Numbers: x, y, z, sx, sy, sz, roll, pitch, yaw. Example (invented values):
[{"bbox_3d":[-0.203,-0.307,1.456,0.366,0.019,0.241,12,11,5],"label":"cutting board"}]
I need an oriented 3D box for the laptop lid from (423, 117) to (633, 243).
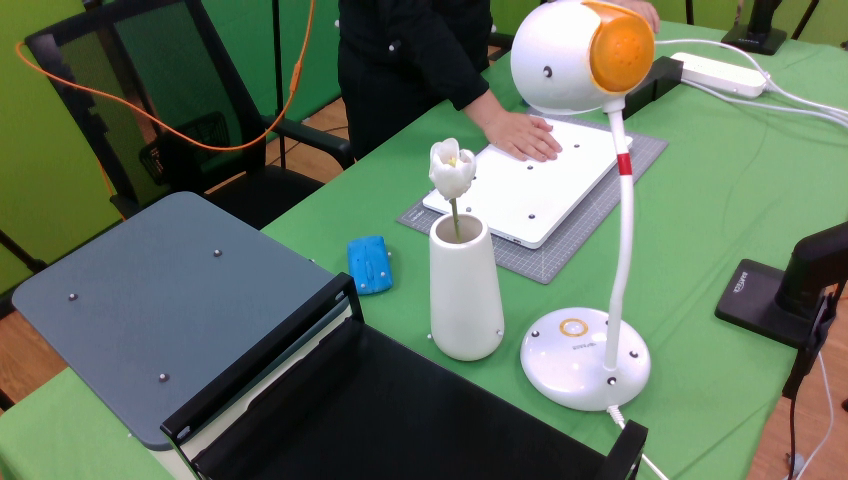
[{"bbox_3d":[0.191,-0.125,1.082,0.239,0.013,0.358,22,48,35],"label":"laptop lid"}]

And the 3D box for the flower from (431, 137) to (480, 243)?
[{"bbox_3d":[0.041,0.011,0.691,0.044,0.363,0.038,15,62,13],"label":"flower"}]

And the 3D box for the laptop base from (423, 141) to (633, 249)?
[{"bbox_3d":[0.194,-0.116,1.087,0.233,0.023,0.355,20,47,34],"label":"laptop base"}]

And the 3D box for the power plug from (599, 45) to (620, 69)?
[{"bbox_3d":[0.437,-0.421,1.413,0.053,0.035,0.072,-18,78,-46],"label":"power plug"}]

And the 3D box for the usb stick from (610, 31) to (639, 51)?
[{"bbox_3d":[0.390,-0.389,1.181,0.059,0.027,0.021,-1,44,-29],"label":"usb stick"}]

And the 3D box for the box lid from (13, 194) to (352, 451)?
[{"bbox_3d":[-0.291,0.067,0.717,0.368,0.015,0.264,25,50,33],"label":"box lid"}]

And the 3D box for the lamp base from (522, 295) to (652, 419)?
[{"bbox_3d":[0.201,0.095,0.710,0.161,0.181,0.178,-16,43,-10],"label":"lamp base"}]

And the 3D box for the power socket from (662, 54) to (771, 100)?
[{"bbox_3d":[0.615,-0.349,1.285,0.072,0.033,0.225,-36,49,-28],"label":"power socket"}]

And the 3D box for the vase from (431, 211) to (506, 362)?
[{"bbox_3d":[0.054,0.062,0.757,0.098,0.201,0.097,-3,40,3],"label":"vase"}]

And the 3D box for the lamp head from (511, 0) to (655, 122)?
[{"bbox_3d":[0.155,-0.168,0.564,0.113,0.113,0.122,-18,23,-12],"label":"lamp head"}]

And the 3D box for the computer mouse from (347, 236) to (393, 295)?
[{"bbox_3d":[-0.086,0.035,0.936,0.063,0.041,0.116,-8,44,-5],"label":"computer mouse"}]

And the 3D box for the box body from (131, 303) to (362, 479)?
[{"bbox_3d":[-0.285,0.123,0.766,0.361,0.161,0.255,25,49,33],"label":"box body"}]

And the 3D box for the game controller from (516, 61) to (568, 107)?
[{"bbox_3d":[0.260,-0.352,1.336,0.097,0.052,0.154,-3,41,2],"label":"game controller"}]
